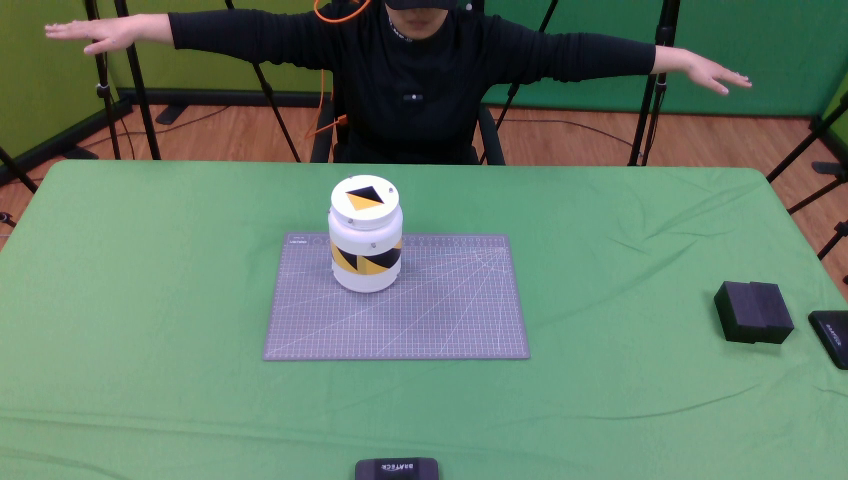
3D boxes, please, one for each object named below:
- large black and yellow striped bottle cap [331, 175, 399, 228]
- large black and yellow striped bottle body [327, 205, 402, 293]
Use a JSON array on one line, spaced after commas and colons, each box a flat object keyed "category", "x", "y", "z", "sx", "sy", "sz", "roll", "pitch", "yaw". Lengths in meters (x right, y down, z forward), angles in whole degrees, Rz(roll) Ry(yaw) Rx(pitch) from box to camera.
[{"category": "large black and yellow striped bottle cap", "x": -0.099, "y": -0.067, "z": 1.022, "sx": 0.115, "sy": 0.019, "sz": 0.114, "roll": 2, "pitch": 47, "yaw": -2}, {"category": "large black and yellow striped bottle body", "x": -0.105, "y": -0.009, "z": 1.083, "sx": 0.131, "sy": 0.185, "sz": 0.130, "roll": 2, "pitch": 46, "yaw": -2}]
